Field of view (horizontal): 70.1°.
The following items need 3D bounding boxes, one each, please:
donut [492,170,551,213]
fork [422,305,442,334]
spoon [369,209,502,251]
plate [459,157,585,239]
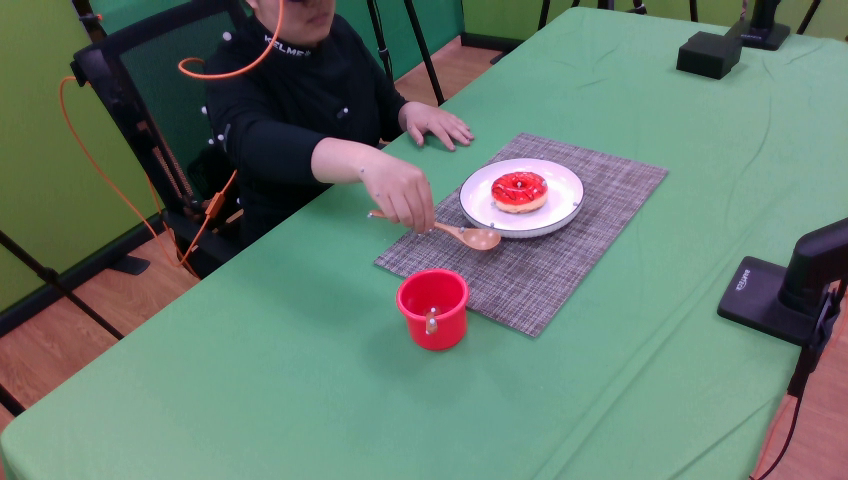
[{"bbox_3d":[0.163,-0.083,1.015,0.099,0.048,0.098,-6,37,5],"label":"donut"},{"bbox_3d":[0.010,0.099,0.766,0.028,0.018,0.207,-10,-3,1],"label":"fork"},{"bbox_3d":[0.015,-0.020,0.864,0.194,0.021,0.041,16,51,2],"label":"spoon"},{"bbox_3d":[0.163,-0.068,1.015,0.209,0.038,0.208,-5,40,5],"label":"plate"}]
